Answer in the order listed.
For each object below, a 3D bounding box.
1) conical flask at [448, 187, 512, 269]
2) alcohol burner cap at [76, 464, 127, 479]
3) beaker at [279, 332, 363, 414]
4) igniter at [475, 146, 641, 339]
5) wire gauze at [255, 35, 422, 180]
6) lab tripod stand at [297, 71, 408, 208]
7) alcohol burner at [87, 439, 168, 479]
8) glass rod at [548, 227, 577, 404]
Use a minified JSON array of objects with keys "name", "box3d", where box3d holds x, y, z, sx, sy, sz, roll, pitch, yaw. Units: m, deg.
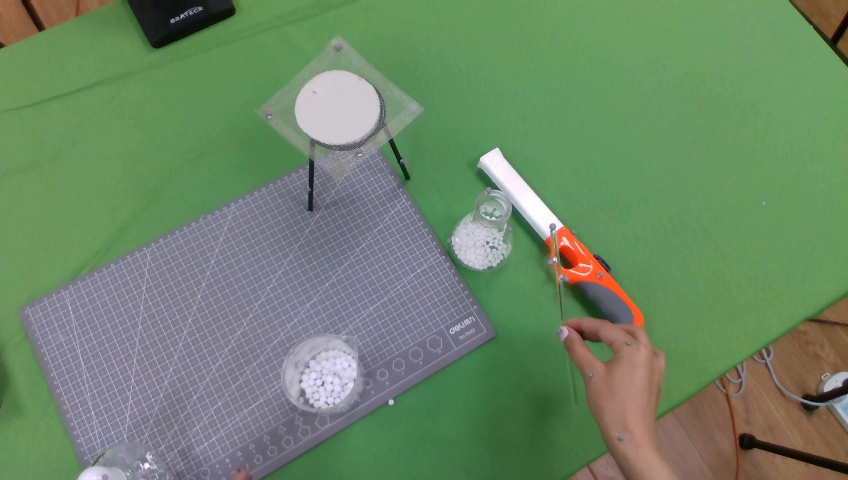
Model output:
[{"name":"conical flask","box3d":[0.067,-0.018,0.667,0.075,0.122,0.075,1,72,-1]},{"name":"alcohol burner cap","box3d":[-0.292,0.216,0.544,0.034,0.048,0.033,2,62,-3]},{"name":"beaker","box3d":[-0.099,0.137,0.621,0.073,0.101,0.084,40,75,10]},{"name":"igniter","box3d":[0.157,-0.001,0.714,0.057,0.025,0.275,-33,76,-22]},{"name":"wire gauze","box3d":[-0.088,-0.137,0.622,0.121,0.011,0.125,42,76,9]},{"name":"lab tripod stand","box3d":[-0.090,-0.111,0.684,0.148,0.132,0.147,1,73,-3]},{"name":"alcohol burner","box3d":[-0.293,0.230,0.578,0.078,0.120,0.077,1,70,-2]},{"name":"glass rod","box3d":[0.137,0.080,0.597,0.008,0.008,0.201,-14,111,-7]}]
